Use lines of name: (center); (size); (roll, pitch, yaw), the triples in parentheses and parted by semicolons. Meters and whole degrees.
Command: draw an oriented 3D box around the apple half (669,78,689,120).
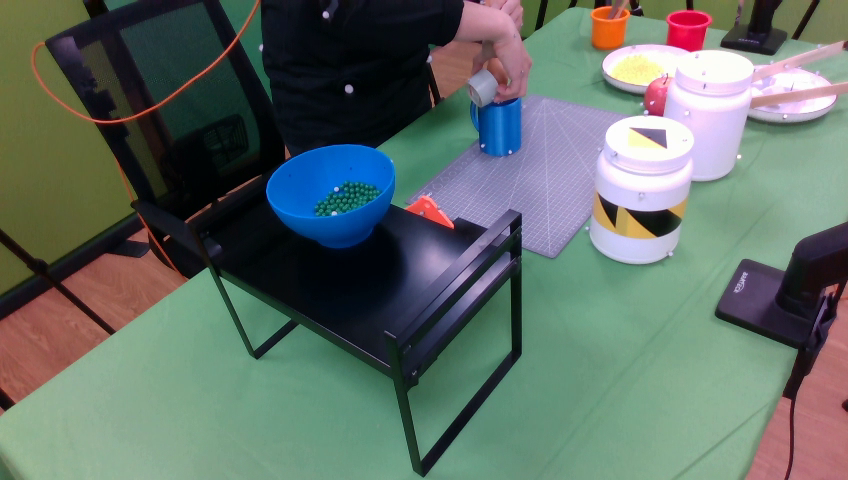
apple half: (0.498, -0.273, 1.180); (0.032, 0.082, 0.081); (7, 42, 25)

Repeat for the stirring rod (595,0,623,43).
stirring rod: (0.460, -0.556, 1.460); (0.014, 0.006, 0.176); (30, 93, 23)

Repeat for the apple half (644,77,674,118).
apple half: (0.463, -0.279, 1.194); (0.053, 0.075, 0.081); (8, 46, 24)

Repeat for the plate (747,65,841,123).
plate: (0.694, -0.282, 1.189); (0.207, 0.039, 0.206); (-4, 40, 4)

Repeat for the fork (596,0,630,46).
fork: (0.481, -0.556, 1.452); (0.028, 0.019, 0.207); (40, 103, 40)

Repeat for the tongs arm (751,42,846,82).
tongs arm: (0.708, -0.331, 1.193); (0.386, 0.026, 0.050); (-18, 45, -16)

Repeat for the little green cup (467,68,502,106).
little green cup: (0.107, -0.272, 1.083); (0.038, 0.062, 0.061); (-37, 45, -2)

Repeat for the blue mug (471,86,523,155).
blue mug: (0.135, -0.235, 1.163); (0.082, 0.106, 0.115); (-36, 48, -28)

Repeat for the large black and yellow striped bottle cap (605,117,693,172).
large black and yellow striped bottle cap: (0.309, -0.134, 0.833); (0.115, 0.019, 0.114); (-5, 40, 5)

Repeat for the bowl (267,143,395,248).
bowl: (-0.104, -0.043, 0.726); (0.151, 0.077, 0.150); (-4, 41, 4)

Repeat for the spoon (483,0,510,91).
spoon: (0.124, -0.366, 1.100); (0.041, 0.022, 0.193); (-9, 82, 15)

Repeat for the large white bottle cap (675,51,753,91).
large white bottle cap: (0.463, -0.271, 0.967); (0.115, 0.018, 0.114); (-4, 40, 3)

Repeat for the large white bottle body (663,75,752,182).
large white bottle body: (0.472, -0.207, 1.022); (0.130, 0.185, 0.130); (-4, 41, 4)

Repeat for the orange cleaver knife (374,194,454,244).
orange cleaver knife: (-0.032, -0.027, 0.965); (0.210, 0.077, 0.012); (-9, 29, 51)

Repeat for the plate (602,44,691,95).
plate: (0.495, -0.367, 1.317); (0.209, 0.038, 0.208); (-4, 40, 4)

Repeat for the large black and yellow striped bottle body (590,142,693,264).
large black and yellow striped bottle body: (0.317, -0.071, 0.889); (0.131, 0.185, 0.130); (-4, 41, 4)

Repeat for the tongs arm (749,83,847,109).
tongs arm: (0.734, -0.280, 1.133); (0.388, 0.028, 0.028); (-9, 47, -5)
